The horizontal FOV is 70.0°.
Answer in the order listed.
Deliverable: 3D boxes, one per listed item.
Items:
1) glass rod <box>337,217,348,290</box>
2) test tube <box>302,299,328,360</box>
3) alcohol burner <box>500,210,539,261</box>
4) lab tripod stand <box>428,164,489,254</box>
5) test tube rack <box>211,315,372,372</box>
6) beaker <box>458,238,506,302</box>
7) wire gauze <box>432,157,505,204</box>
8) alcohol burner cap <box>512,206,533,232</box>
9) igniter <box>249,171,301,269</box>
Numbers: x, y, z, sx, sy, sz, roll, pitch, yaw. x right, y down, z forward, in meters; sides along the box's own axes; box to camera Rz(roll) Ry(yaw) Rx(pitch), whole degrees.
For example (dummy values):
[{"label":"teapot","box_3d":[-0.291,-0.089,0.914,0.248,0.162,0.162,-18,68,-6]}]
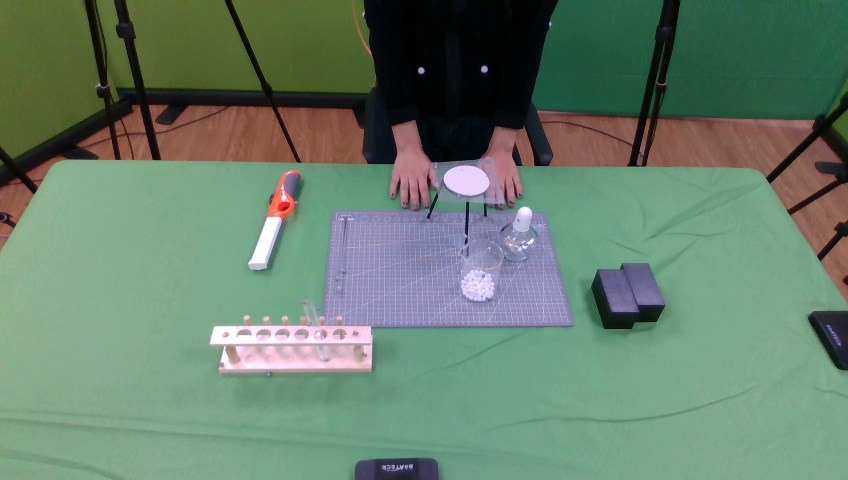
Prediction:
[{"label":"glass rod","box_3d":[-0.158,0.022,1.172,0.008,0.008,0.198,1,43,-2]},{"label":"test tube","box_3d":[-0.167,0.142,0.937,0.017,0.151,0.017,-2,47,2]},{"label":"alcohol burner","box_3d":[0.185,-0.016,1.160,0.078,0.119,0.077,2,48,-2]},{"label":"lab tripod stand","box_3d":[0.078,-0.068,1.188,0.148,0.132,0.147,3,47,-3]},{"label":"test tube rack","box_3d":[-0.208,0.163,0.982,0.242,0.085,0.066,1,46,-4]},{"label":"beaker","box_3d":[0.099,0.057,1.093,0.084,0.101,0.073,6,46,3]},{"label":"wire gauze","box_3d":[0.081,-0.112,1.137,0.125,0.011,0.120,-2,48,-6]},{"label":"alcohol burner cap","box_3d":[0.186,-0.042,1.134,0.034,0.048,0.033,6,41,-5]},{"label":"igniter","box_3d":[-0.297,-0.049,1.220,0.057,0.025,0.275,-1,45,9]}]
